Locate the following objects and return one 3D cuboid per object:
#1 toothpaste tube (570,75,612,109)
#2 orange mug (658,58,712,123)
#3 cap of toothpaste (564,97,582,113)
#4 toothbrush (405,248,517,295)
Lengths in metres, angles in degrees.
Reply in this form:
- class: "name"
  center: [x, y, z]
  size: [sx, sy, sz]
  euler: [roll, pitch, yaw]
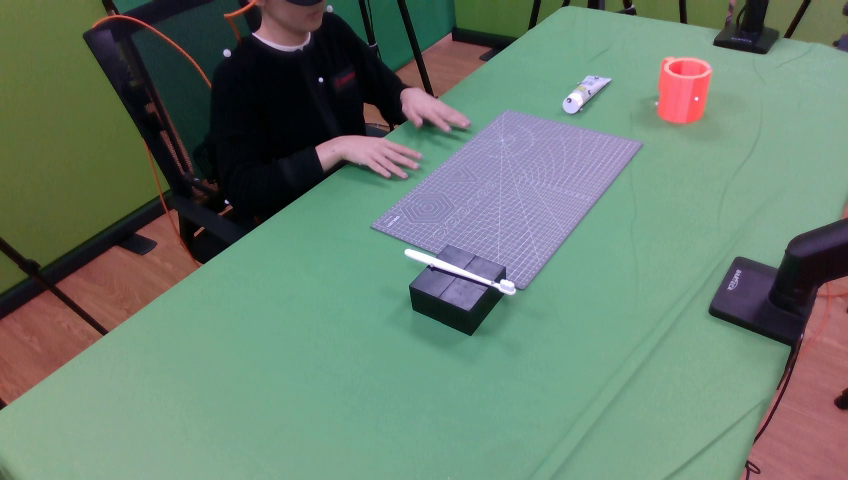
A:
- class: "toothpaste tube"
  center: [0.351, -0.319, 1.290]
  size: [0.054, 0.034, 0.165]
  euler: [22, 44, 24]
- class: "orange mug"
  center: [0.504, -0.304, 1.193]
  size: [0.083, 0.101, 0.125]
  euler: [-13, 45, -5]
- class: "cap of toothpaste"
  center: [0.306, -0.278, 1.239]
  size: [0.037, 0.037, 0.011]
  euler: [17, 43, 26]
- class: "toothbrush"
  center: [0.048, 0.041, 0.850]
  size: [0.180, 0.017, 0.014]
  euler: [19, 52, 28]
